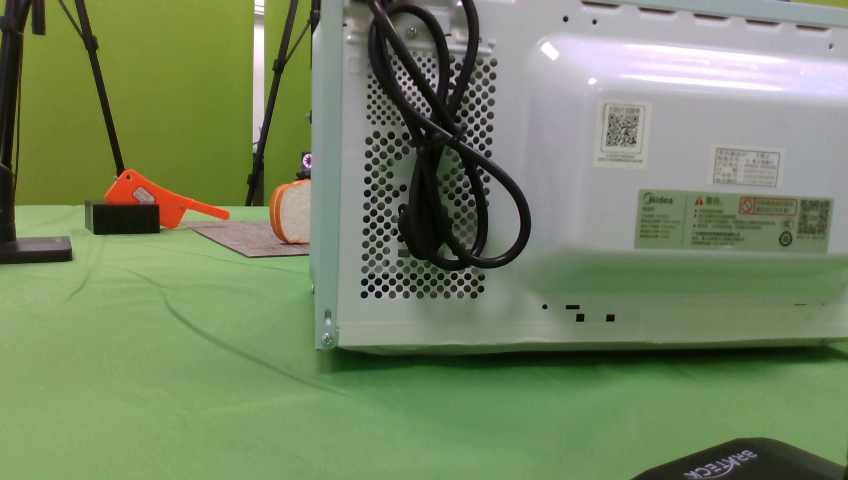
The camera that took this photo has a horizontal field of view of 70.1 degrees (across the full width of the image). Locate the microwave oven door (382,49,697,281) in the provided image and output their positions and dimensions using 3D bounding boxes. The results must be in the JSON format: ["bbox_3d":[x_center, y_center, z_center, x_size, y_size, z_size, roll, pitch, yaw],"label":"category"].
[{"bbox_3d":[0.135,-0.077,0.685,0.357,0.243,0.039,1,8,-12],"label":"microwave oven door"}]

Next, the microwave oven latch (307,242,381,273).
[{"bbox_3d":[-0.086,0.019,0.655,0.079,0.029,0.030,2,7,-9],"label":"microwave oven latch"}]

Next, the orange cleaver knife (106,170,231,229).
[{"bbox_3d":[-0.458,-0.060,1.097,0.212,0.077,0.012,23,-4,-38],"label":"orange cleaver knife"}]

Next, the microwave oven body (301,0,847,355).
[{"bbox_3d":[0.120,-0.053,0.535,0.443,0.260,0.325,2,7,-11],"label":"microwave oven body"}]

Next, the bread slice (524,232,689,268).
[{"bbox_3d":[0.175,0.009,0.565,0.134,0.018,0.107,-5,4,27],"label":"bread slice"}]

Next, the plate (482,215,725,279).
[{"bbox_3d":[0.157,0.004,0.546,0.208,0.039,0.207,-2,6,1],"label":"plate"}]
